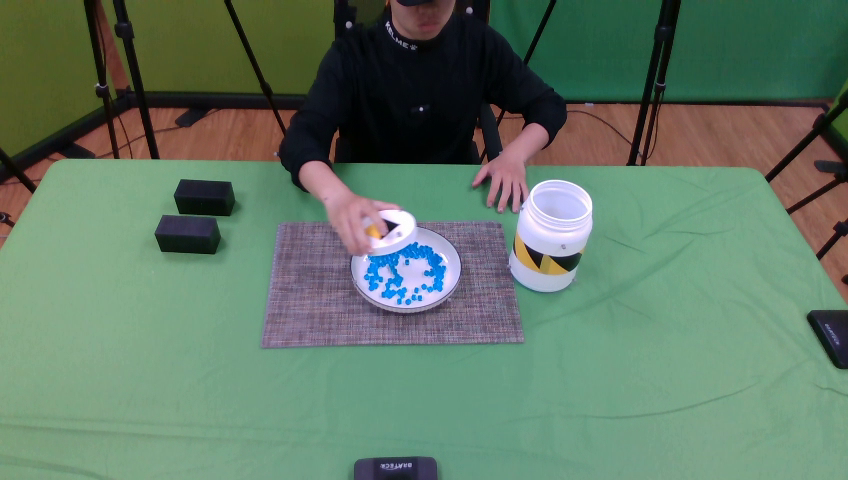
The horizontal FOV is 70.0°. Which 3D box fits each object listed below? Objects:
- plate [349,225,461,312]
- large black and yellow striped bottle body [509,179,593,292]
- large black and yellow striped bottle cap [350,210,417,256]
[{"bbox_3d":[-0.035,0.054,1.126,0.208,0.039,0.206,2,46,-2],"label":"plate"},{"bbox_3d":[0.232,-0.008,1.108,0.131,0.185,0.130,2,46,-2],"label":"large black and yellow striped bottle body"},{"bbox_3d":[-0.068,-0.014,1.032,0.115,0.019,0.114,-9,34,6],"label":"large black and yellow striped bottle cap"}]
